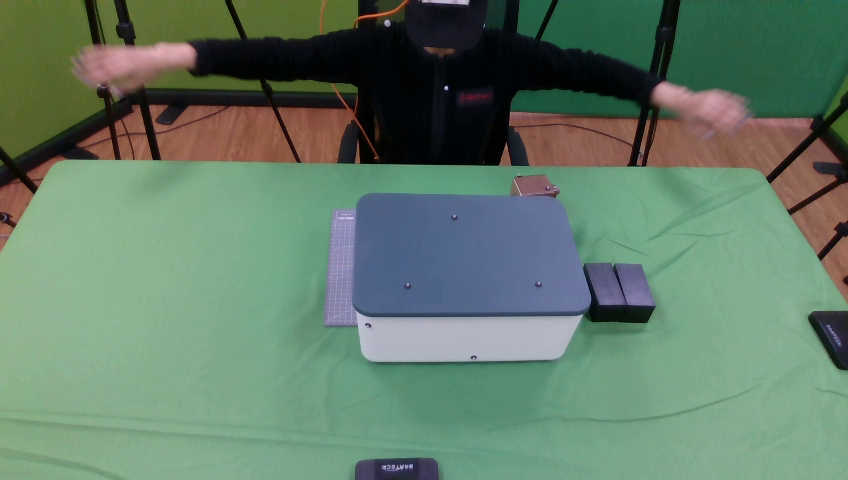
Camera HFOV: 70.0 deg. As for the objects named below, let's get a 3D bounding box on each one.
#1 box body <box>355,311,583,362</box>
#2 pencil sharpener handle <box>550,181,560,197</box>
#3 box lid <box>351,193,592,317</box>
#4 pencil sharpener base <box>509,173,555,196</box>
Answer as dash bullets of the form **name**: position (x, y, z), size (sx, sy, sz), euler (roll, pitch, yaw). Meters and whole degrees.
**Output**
- **box body**: position (0.066, 0.068, 1.038), size (0.364, 0.161, 0.252), euler (0, 46, -4)
- **pencil sharpener handle**: position (0.267, -0.089, 1.224), size (0.031, 0.068, 0.035), euler (-6, 44, -10)
- **box lid**: position (0.071, 0.017, 0.984), size (0.372, 0.015, 0.261), euler (0, 47, -4)
- **pencil sharpener base**: position (0.216, -0.075, 1.224), size (0.077, 0.107, 0.061), euler (-6, 46, -10)
